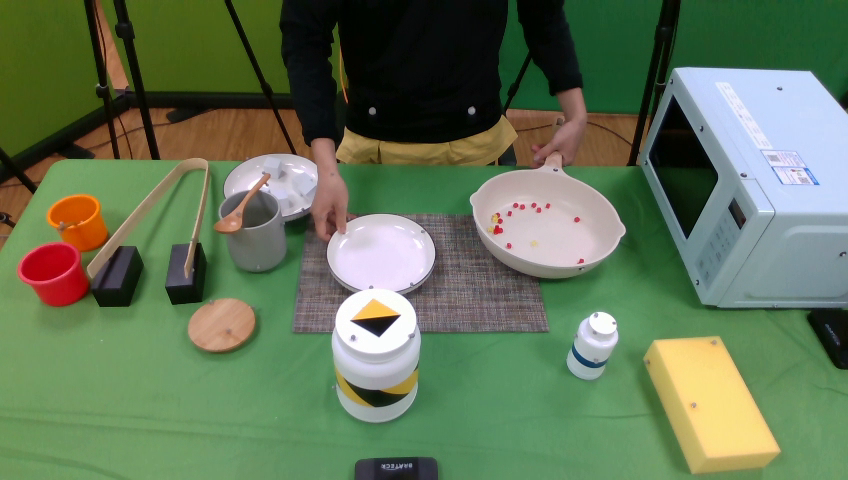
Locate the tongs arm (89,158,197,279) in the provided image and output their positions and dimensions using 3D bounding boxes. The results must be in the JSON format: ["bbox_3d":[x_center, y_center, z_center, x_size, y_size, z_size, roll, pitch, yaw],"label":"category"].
[{"bbox_3d":[-0.530,-0.057,1.164,0.028,0.028,0.385,0,36,8],"label":"tongs arm"}]

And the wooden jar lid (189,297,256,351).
[{"bbox_3d":[-0.342,0.145,1.033,0.108,0.021,0.107,3,45,-2],"label":"wooden jar lid"}]

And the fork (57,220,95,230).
[{"bbox_3d":[-0.624,-0.027,1.086,0.028,0.207,0.018,-2,92,-17],"label":"fork"}]

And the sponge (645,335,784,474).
[{"bbox_3d":[0.449,0.253,0.956,0.118,0.061,0.205,-4,46,-7],"label":"sponge"}]

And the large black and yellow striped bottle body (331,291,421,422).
[{"bbox_3d":[-0.071,0.175,0.911,0.131,0.185,0.130,2,47,-2],"label":"large black and yellow striped bottle body"}]

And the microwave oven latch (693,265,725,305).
[{"bbox_3d":[0.523,0.082,1.116,0.030,0.029,0.078,2,46,-1],"label":"microwave oven latch"}]

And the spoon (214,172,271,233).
[{"bbox_3d":[-0.312,-0.070,1.070,0.041,0.022,0.193,11,43,9],"label":"spoon"}]

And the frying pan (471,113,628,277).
[{"bbox_3d":[0.265,-0.111,1.261,0.306,0.103,0.485,14,52,7],"label":"frying pan"}]

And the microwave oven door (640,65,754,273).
[{"bbox_3d":[0.523,-0.147,1.193,0.039,0.245,0.353,0,47,-3],"label":"microwave oven door"}]

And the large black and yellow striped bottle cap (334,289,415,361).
[{"bbox_3d":[-0.069,0.117,0.850,0.115,0.019,0.114,2,45,-2],"label":"large black and yellow striped bottle cap"}]

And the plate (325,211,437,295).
[{"bbox_3d":[-0.080,0.030,1.144,0.209,0.038,0.208,2,46,-2],"label":"plate"}]

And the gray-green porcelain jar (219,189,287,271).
[{"bbox_3d":[-0.310,-0.014,1.113,0.106,0.127,0.105,2,46,-2],"label":"gray-green porcelain jar"}]

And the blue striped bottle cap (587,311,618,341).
[{"bbox_3d":[0.279,0.134,0.947,0.044,0.021,0.044,2,45,-2],"label":"blue striped bottle cap"}]

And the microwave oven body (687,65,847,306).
[{"bbox_3d":[0.669,-0.111,1.176,0.326,0.261,0.439,0,46,-3],"label":"microwave oven body"}]

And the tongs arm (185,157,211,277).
[{"bbox_3d":[-0.446,-0.058,1.168,0.051,0.026,0.382,-5,37,-6],"label":"tongs arm"}]

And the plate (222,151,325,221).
[{"bbox_3d":[-0.310,-0.106,1.263,0.208,0.039,0.206,3,47,-2],"label":"plate"}]

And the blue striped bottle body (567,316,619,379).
[{"bbox_3d":[0.276,0.168,0.984,0.063,0.121,0.062,2,46,-2],"label":"blue striped bottle body"}]
